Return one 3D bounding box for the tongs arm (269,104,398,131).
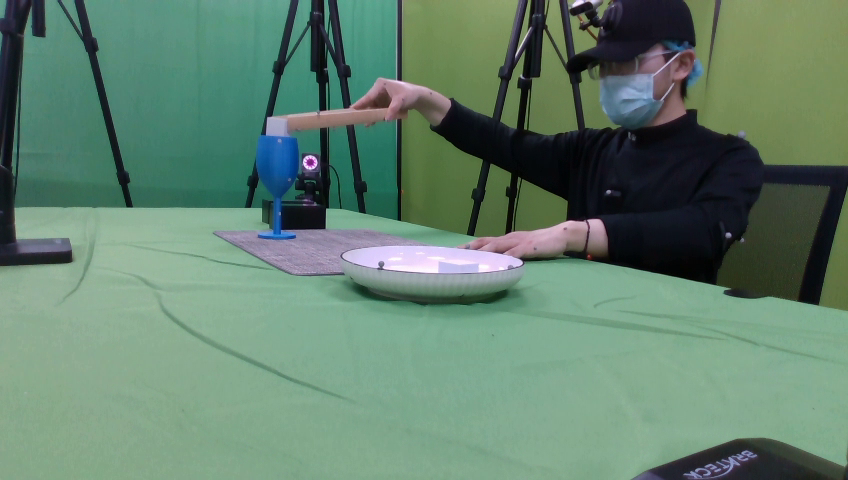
[{"bbox_3d":[-0.165,-0.246,1.196,0.028,0.028,0.389,3,16,30],"label":"tongs arm"}]

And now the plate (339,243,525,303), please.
[{"bbox_3d":[0.008,0.035,0.682,0.209,0.038,0.209,3,7,0],"label":"plate"}]

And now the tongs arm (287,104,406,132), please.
[{"bbox_3d":[-0.142,-0.243,1.185,0.050,0.026,0.386,9,18,32],"label":"tongs arm"}]

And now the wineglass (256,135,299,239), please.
[{"bbox_3d":[-0.252,-0.091,1.035,0.074,0.172,0.073,3,7,0],"label":"wineglass"}]
